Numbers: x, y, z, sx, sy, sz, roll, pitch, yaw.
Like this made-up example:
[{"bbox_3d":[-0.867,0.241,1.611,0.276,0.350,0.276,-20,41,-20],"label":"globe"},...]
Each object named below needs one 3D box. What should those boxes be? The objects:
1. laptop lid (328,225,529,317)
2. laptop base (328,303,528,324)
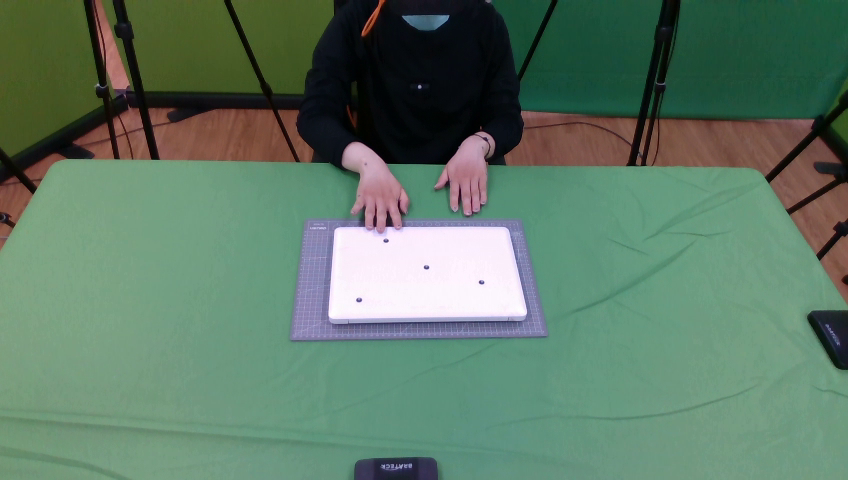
[{"bbox_3d":[0.005,0.051,1.130,0.357,0.013,0.240,1,44,-3],"label":"laptop lid"},{"bbox_3d":[0.005,0.061,1.137,0.355,0.023,0.234,-1,43,-4],"label":"laptop base"}]
